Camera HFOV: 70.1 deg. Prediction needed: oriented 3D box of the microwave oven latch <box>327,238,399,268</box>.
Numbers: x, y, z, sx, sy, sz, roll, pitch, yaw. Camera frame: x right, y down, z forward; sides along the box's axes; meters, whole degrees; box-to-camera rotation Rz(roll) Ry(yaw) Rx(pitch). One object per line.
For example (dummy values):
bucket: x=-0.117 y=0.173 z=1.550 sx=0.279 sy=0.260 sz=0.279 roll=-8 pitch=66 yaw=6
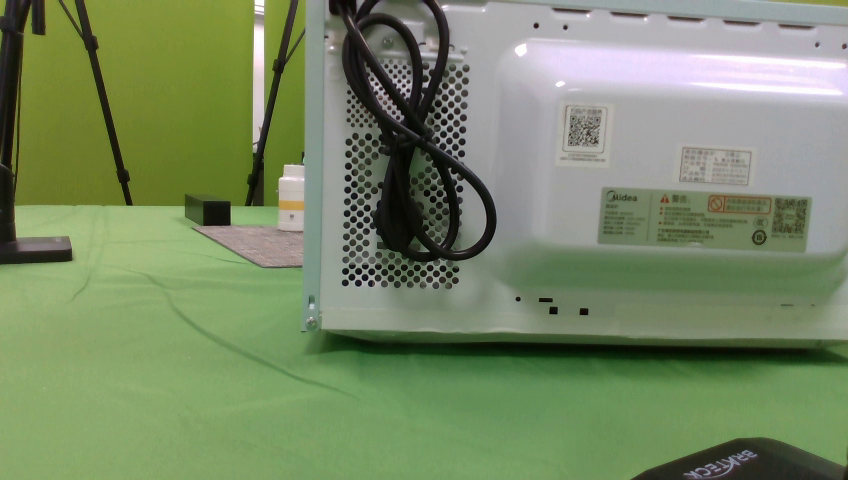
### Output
microwave oven latch: x=-0.069 y=0.015 z=0.694 sx=0.079 sy=0.029 sz=0.030 roll=3 pitch=7 yaw=-3

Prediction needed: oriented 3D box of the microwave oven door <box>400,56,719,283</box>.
microwave oven door: x=0.155 y=-0.078 z=0.698 sx=0.356 sy=0.243 sz=0.039 roll=2 pitch=8 yaw=-5

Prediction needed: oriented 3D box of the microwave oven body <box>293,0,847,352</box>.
microwave oven body: x=0.122 y=-0.055 z=0.550 sx=0.442 sy=0.260 sz=0.325 roll=3 pitch=7 yaw=-5

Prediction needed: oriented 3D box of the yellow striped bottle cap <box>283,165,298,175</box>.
yellow striped bottle cap: x=-0.240 y=-0.129 z=1.124 sx=0.044 sy=0.018 sz=0.044 roll=4 pitch=7 yaw=0

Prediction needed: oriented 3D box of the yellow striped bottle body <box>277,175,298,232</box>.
yellow striped bottle body: x=-0.242 y=-0.078 z=1.130 sx=0.063 sy=0.120 sz=0.063 roll=2 pitch=8 yaw=0
